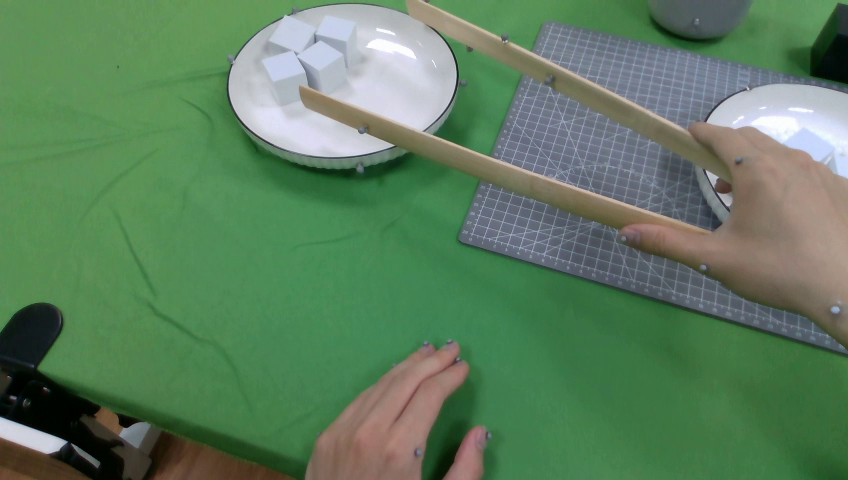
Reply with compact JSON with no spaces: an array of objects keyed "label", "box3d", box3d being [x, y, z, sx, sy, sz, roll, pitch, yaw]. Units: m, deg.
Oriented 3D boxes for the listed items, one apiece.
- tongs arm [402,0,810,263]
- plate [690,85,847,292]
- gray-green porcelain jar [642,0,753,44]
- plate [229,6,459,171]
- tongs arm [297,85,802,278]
[{"label":"tongs arm","box3d":[0.109,-0.103,0.471,0.381,0.027,0.050,35,64,26]},{"label":"plate","box3d":[0.321,-0.043,0.498,0.209,0.038,0.207,0,56,0]},{"label":"gray-green porcelain jar","box3d":[0.282,-0.271,0.603,0.106,0.127,0.105,0,55,0]},{"label":"plate","box3d":[-0.072,-0.140,0.564,0.208,0.039,0.205,0,56,0]},{"label":"tongs arm","box3d":[0.061,-0.051,0.442,0.385,0.028,0.028,23,56,21]}]
